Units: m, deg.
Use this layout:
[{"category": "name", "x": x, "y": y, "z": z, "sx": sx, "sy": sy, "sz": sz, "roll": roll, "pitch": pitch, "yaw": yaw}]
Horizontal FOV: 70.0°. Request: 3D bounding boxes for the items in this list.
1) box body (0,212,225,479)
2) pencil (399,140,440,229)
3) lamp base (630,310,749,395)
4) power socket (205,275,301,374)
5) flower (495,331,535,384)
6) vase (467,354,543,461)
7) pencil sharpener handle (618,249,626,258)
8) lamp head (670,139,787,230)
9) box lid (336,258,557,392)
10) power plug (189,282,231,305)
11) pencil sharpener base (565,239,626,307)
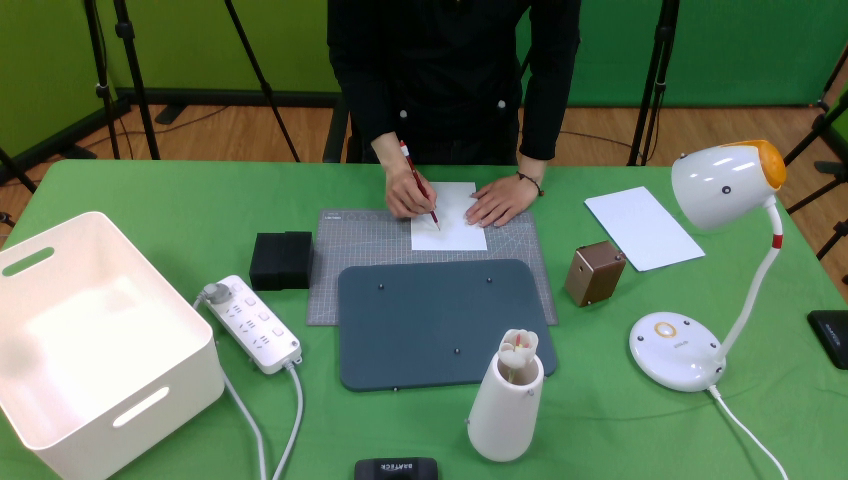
[{"category": "box body", "x": -0.504, "y": 0.154, "z": 0.916, "sx": 0.362, "sy": 0.161, "sz": 0.254, "roll": 36, "pitch": 54, "yaw": 27}, {"category": "pencil", "x": -0.006, "y": -0.108, "z": 1.207, "sx": 0.012, "sy": 0.194, "sz": 0.012, "roll": -24, "pitch": 12, "yaw": 6}, {"category": "lamp base", "x": 0.447, "y": 0.143, "z": 0.984, "sx": 0.161, "sy": 0.181, "sz": 0.178, "roll": -24, "pitch": 55, "yaw": -24}, {"category": "power socket", "x": -0.296, "y": 0.140, "z": 1.035, "sx": 0.072, "sy": 0.033, "sz": 0.225, "roll": -32, "pitch": 57, "yaw": -29}, {"category": "flower", "x": 0.110, "y": 0.187, "z": 0.791, "sx": 0.044, "sy": 0.363, "sz": 0.038, "roll": -32, "pitch": 65, "yaw": -10}, {"category": "vase", "x": 0.116, "y": 0.234, "z": 0.861, "sx": 0.098, "sy": 0.201, "sz": 0.097, "roll": 1, "pitch": 47, "yaw": -1}, {"category": "pencil sharpener handle", "x": 0.359, "y": 0.036, "z": 1.113, "sx": 0.031, "sy": 0.068, "sz": 0.036, "roll": -15, "pitch": 61, "yaw": -18}, {"category": "lamp head", "x": 0.415, "y": -0.079, "z": 0.812, "sx": 0.113, "sy": 0.123, "sz": 0.112, "roll": 13, "pitch": 70, "yaw": -37}, {"category": "box lid", "x": 0.030, "y": 0.140, "z": 1.073, "sx": 0.372, "sy": 0.015, "sz": 0.261, "roll": -3, "pitch": 47, "yaw": -7}, {"category": "power plug", "x": -0.368, "y": 0.097, "z": 1.039, "sx": 0.072, "sy": 0.053, "sz": 0.035, "roll": -26, "pitch": 56, "yaw": -20}, {"category": "pencil sharpener base", "x": 0.313, "y": 0.060, "z": 1.104, "sx": 0.077, "sy": 0.107, "sz": 0.061, "roll": -15, "pitch": 49, "yaw": -18}]
